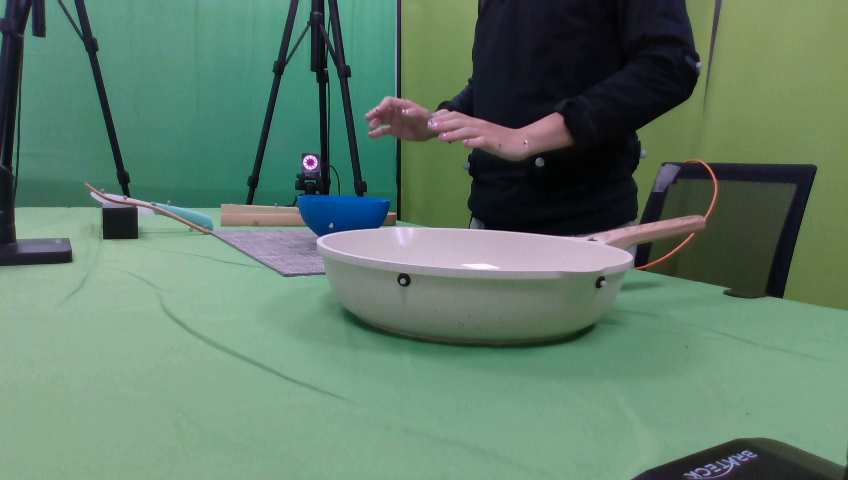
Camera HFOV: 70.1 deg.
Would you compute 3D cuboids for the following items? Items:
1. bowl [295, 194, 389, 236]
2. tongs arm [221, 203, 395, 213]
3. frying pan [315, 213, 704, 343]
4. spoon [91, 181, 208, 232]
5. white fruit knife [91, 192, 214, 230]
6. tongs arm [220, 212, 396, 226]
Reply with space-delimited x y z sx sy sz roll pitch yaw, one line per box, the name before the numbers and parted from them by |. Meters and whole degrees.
bowl | -0.132 -0.032 0.980 0.151 0.077 0.151 2 7 0
tongs arm | -0.258 -0.061 1.368 0.386 0.026 0.050 1 8 -14
frying pan | 0.133 0.014 0.629 0.490 0.102 0.305 -11 14 -29
spoon | -0.461 -0.053 1.023 0.195 0.021 0.041 21 22 -24
white fruit knife | -0.477 -0.055 1.077 0.208 0.027 0.016 15 -5 -30
tongs arm | -0.233 -0.046 1.292 0.389 0.028 0.028 -1 6 -27
